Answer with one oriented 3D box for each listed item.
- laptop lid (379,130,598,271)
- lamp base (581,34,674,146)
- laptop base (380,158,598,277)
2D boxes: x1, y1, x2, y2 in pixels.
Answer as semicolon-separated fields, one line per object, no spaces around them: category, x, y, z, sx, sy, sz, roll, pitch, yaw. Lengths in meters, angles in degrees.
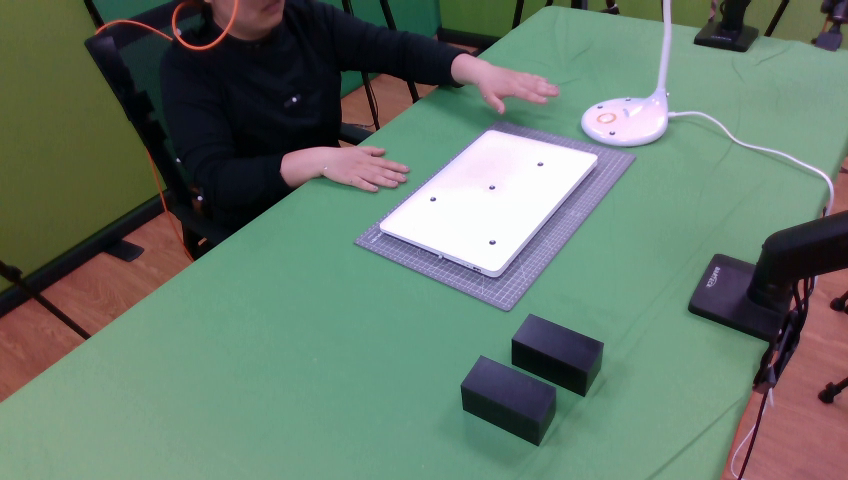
laptop lid;0.117;-0.087;1.037;0.240;0.013;0.358;22;48;33
lamp base;0.392;-0.291;1.129;0.180;0.181;0.159;-11;41;-8
laptop base;0.120;-0.077;1.043;0.233;0.023;0.355;20;47;32
